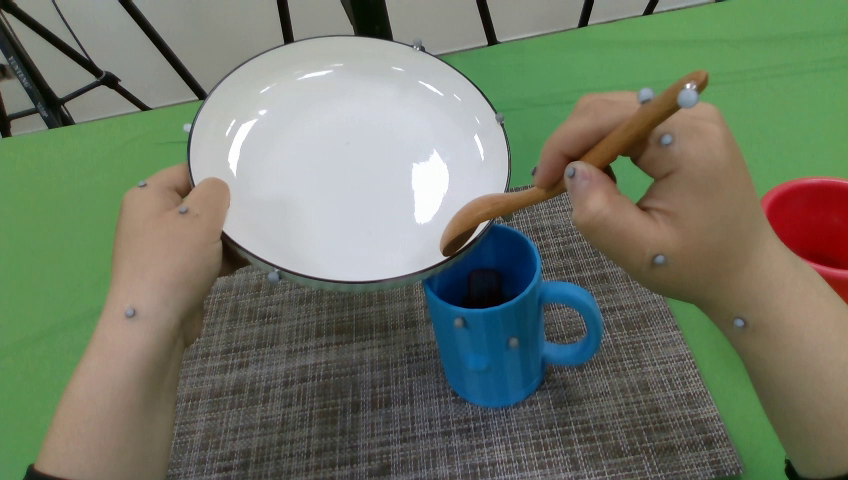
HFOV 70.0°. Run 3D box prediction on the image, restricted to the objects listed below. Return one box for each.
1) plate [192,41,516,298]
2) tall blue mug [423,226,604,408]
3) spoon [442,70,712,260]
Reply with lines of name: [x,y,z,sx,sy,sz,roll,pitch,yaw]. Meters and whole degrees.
plate: [-0.044,-0.050,0.408,0.208,0.039,0.205,3,58,-5]
tall blue mug: [0.059,0.051,0.415,0.107,0.109,0.077,-15,43,-1]
spoon: [0.056,-0.024,0.280,0.041,0.193,0.021,-37,93,-29]
